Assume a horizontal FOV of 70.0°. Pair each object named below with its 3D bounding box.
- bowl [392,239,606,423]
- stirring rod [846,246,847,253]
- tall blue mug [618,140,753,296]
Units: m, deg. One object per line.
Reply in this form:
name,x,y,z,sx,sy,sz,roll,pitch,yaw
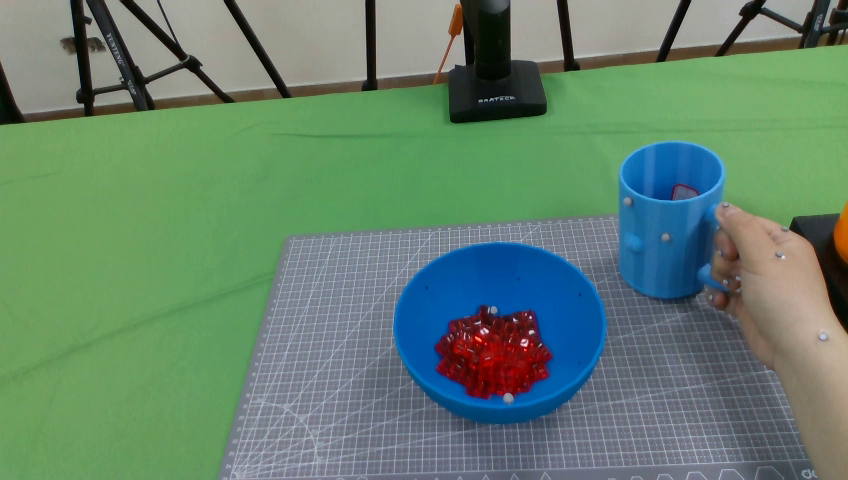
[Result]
bowl,0.056,0.079,0.453,0.151,0.077,0.150,-4,44,4
stirring rod,0.378,-0.046,0.421,0.176,0.006,0.014,-46,37,23
tall blue mug,0.214,-0.013,0.494,0.106,0.109,0.077,13,49,29
